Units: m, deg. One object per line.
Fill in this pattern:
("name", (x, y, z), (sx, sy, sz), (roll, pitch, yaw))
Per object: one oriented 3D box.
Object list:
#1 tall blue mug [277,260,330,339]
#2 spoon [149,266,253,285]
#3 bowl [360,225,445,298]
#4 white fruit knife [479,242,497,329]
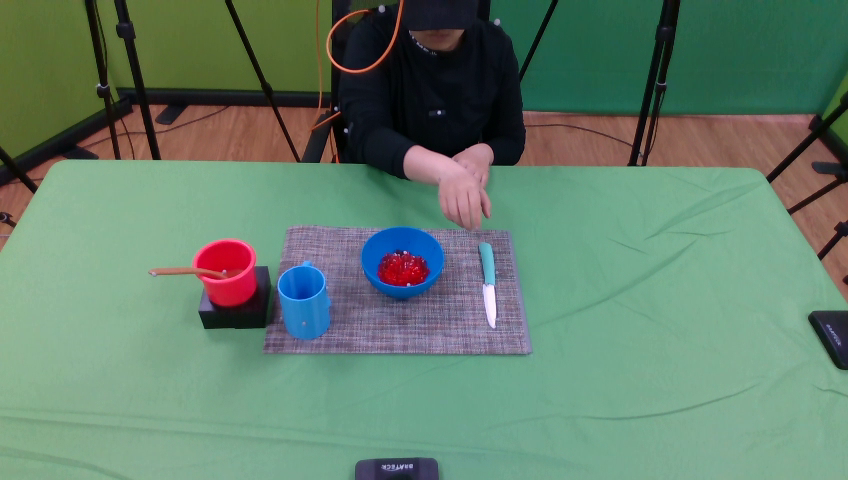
("tall blue mug", (-0.208, 0.094, 1.025), (0.078, 0.108, 0.106), (-21, 51, -21))
("spoon", (-0.351, 0.052, 0.968), (0.041, 0.021, 0.194), (41, 13, 28))
("bowl", (-0.040, 0.052, 1.099), (0.151, 0.077, 0.150), (2, 46, -2))
("white fruit knife", (0.122, 0.080, 1.130), (0.027, 0.016, 0.206), (-19, 45, 19))
